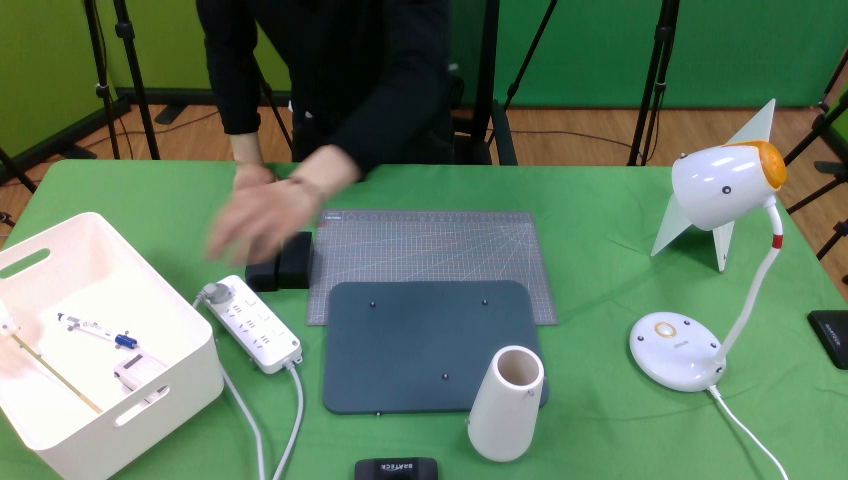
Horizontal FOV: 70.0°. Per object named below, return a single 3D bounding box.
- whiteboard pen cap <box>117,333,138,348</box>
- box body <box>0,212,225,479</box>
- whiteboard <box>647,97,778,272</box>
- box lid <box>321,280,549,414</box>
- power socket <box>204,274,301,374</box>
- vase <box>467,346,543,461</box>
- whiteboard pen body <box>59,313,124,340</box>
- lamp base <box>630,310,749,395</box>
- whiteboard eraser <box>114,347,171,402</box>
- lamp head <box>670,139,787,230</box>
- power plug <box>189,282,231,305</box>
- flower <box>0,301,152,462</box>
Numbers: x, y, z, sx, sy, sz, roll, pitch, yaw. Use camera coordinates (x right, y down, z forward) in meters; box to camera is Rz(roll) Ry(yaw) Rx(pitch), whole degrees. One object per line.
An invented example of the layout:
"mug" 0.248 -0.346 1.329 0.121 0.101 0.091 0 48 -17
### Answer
"whiteboard pen cap" -0.489 0.165 0.996 0.033 0.018 0.018 17 47 10
"box body" -0.506 0.155 0.915 0.362 0.161 0.254 35 54 26
"whiteboard" 0.602 -0.079 1.162 0.144 0.306 0.216 35 51 2
"box lid" 0.013 0.174 1.040 0.372 0.015 0.261 0 47 -4
"power socket" -0.296 0.140 1.035 0.072 0.033 0.225 -33 57 -29
"vase" 0.116 0.235 0.860 0.098 0.201 0.097 1 47 -1
"whiteboard pen body" -0.543 0.148 1.009 0.140 0.017 0.017 16 47 8
"lamp base" 0.447 0.143 0.984 0.161 0.181 0.178 -24 55 -24
"whiteboard eraser" -0.420 0.215 0.936 0.112 0.042 0.055 25 48 22
"lamp head" 0.415 -0.078 0.812 0.113 0.123 0.112 12 70 -37
"power plug" -0.368 0.097 1.039 0.072 0.053 0.035 -27 55 -21
"flower" -0.552 0.221 0.939 0.361 0.038 0.044 39 63 8
